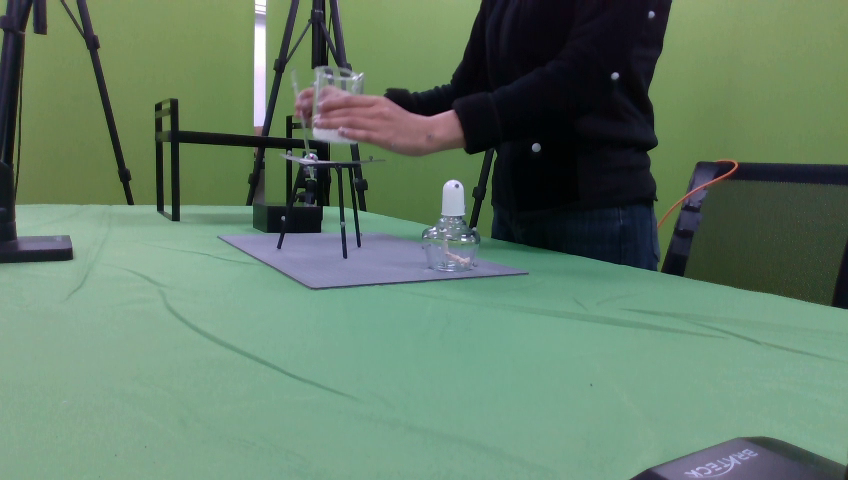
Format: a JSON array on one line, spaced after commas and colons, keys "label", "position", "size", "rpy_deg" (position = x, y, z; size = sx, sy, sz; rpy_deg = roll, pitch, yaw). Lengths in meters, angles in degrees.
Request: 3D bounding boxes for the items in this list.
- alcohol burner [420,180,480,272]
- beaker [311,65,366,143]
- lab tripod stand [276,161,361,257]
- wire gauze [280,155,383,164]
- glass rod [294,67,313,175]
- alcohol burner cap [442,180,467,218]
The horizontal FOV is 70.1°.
[{"label": "alcohol burner", "position": [0.035, -0.018, 0.785], "size": [0.078, 0.119, 0.078], "rpy_deg": [4, 6, 0]}, {"label": "beaker", "position": [-0.123, -0.193, 0.872], "size": [0.083, 0.100, 0.074], "rpy_deg": [10, 7, 42]}, {"label": "lab tripod stand", "position": [-0.143, -0.049, 0.884], "size": [0.148, 0.131, 0.148], "rpy_deg": [1, 9, 0]}, {"label": "wire gauze", "position": [-0.134, -0.114, 0.875], "size": [0.122, 0.011, 0.124], "rpy_deg": [-2, 8, -30]}, {"label": "glass rod", "position": [-0.221, -0.218, 1.105], "size": [0.008, 0.199, 0.008], "rpy_deg": [-8, -1, 0]}, {"label": "alcohol burner cap", "position": [0.039, -0.053, 0.781], "size": [0.034, 0.048, 0.034], "rpy_deg": [0, 11, 0]}]
